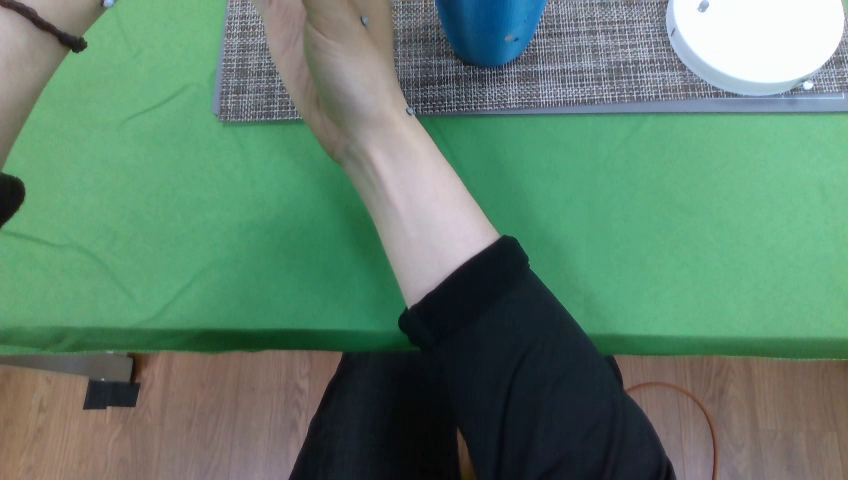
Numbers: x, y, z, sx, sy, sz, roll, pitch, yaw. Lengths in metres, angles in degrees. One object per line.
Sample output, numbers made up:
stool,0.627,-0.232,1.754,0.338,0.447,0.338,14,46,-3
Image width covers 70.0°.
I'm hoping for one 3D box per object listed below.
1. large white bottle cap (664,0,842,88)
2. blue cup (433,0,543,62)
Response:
large white bottle cap,0.228,-0.160,0.422,0.115,0.018,0.114,-1,74,3
blue cup,0.042,-0.168,0.392,0.092,0.101,0.092,-1,74,5
